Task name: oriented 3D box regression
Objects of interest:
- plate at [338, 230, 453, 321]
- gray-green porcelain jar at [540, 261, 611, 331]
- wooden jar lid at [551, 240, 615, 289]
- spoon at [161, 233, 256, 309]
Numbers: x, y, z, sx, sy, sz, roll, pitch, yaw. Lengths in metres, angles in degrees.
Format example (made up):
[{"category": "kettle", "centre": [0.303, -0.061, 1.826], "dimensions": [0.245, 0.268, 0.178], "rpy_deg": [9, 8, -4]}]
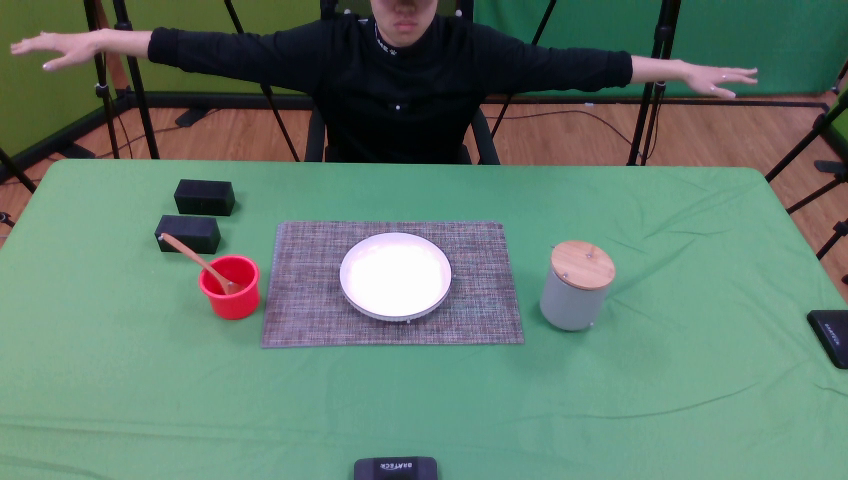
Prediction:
[{"category": "plate", "centre": [-0.051, 0.068, 1.111], "dimensions": [0.208, 0.039, 0.206], "rpy_deg": [2, 46, -2]}, {"category": "gray-green porcelain jar", "centre": [0.262, 0.088, 1.058], "dimensions": [0.106, 0.127, 0.105], "rpy_deg": [2, 46, -2]}, {"category": "wooden jar lid", "centre": [0.263, 0.044, 1.011], "dimensions": [0.108, 0.021, 0.107], "rpy_deg": [4, 45, -4]}, {"category": "spoon", "centre": [-0.366, 0.051, 1.036], "dimensions": [0.194, 0.021, 0.041], "rpy_deg": [47, 45, -21]}]
